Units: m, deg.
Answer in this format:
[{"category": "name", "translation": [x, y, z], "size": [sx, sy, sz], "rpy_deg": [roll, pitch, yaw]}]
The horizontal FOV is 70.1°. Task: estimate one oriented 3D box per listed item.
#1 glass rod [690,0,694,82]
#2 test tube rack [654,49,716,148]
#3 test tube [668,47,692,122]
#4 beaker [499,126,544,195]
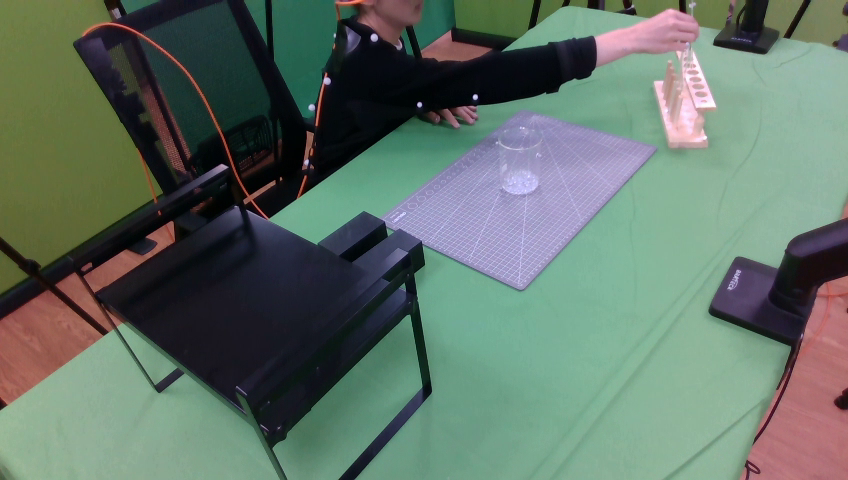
[{"category": "glass rod", "translation": [0.499, -0.367, 1.127], "size": [0.008, 0.201, 0.008], "rpy_deg": [-12, 40, 11]}, {"category": "test tube rack", "translation": [0.502, -0.281, 1.176], "size": [0.066, 0.085, 0.241], "rpy_deg": [2, 41, 11]}, {"category": "test tube", "translation": [0.472, -0.285, 1.117], "size": [0.017, 0.151, 0.017], "rpy_deg": [-4, 44, 4]}, {"category": "beaker", "translation": [0.169, -0.136, 1.045], "size": [0.073, 0.101, 0.084], "rpy_deg": [12, 44, 21]}]
